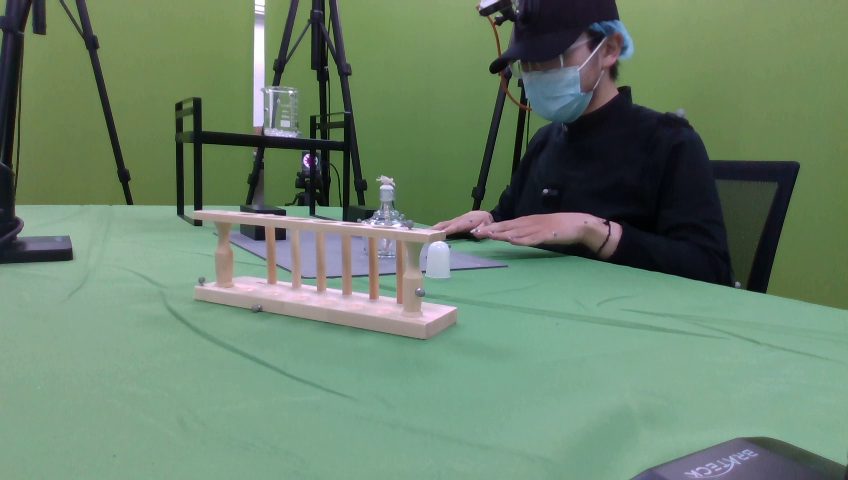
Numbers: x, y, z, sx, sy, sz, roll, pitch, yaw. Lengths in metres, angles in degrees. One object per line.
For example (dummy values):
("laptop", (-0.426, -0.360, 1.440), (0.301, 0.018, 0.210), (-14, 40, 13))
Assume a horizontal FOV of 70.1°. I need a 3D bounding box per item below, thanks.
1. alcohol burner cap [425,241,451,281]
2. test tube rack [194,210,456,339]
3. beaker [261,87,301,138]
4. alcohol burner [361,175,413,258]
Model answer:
("alcohol burner cap", (0.018, 0.024, 0.748), (0.034, 0.048, 0.034), (3, 8, 0))
("test tube rack", (-0.093, 0.023, 0.545), (0.241, 0.085, 0.067), (6, 8, 25))
("beaker", (-0.298, -0.263, 1.255), (0.084, 0.100, 0.073), (-5, 10, -40))
("alcohol burner", (-0.054, -0.034, 0.871), (0.078, 0.119, 0.078), (1, 8, 0))
